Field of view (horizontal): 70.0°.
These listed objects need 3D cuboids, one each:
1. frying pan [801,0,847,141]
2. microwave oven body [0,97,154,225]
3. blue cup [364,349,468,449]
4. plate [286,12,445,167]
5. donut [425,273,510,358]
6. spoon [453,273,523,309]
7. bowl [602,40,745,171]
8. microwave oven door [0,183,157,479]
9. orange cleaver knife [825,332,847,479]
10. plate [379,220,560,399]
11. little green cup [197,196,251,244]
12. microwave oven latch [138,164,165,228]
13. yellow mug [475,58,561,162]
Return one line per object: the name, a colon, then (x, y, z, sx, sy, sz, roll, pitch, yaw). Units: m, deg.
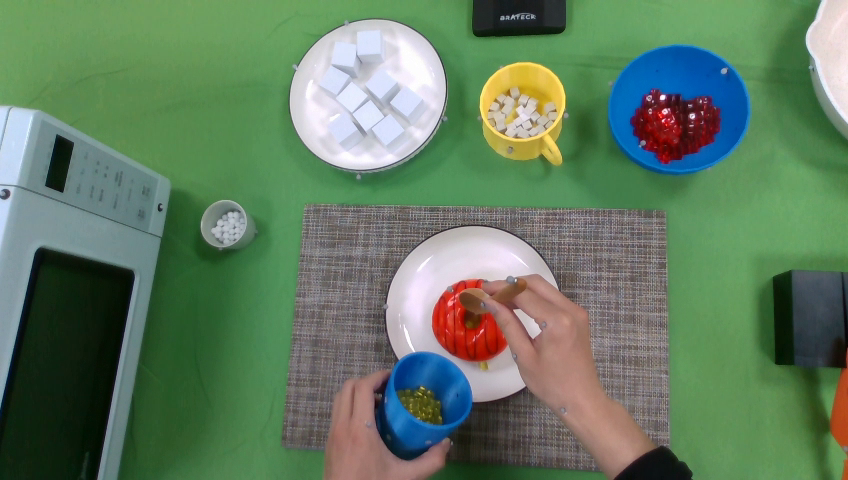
frying pan: (0.554, -0.108, 0.643, 0.306, 0.103, 0.485, 7, 73, 11)
microwave oven body: (-0.537, 0.086, 0.683, 0.325, 0.261, 0.440, 5, 81, 9)
blue cup: (-0.017, 0.169, 0.615, 0.093, 0.100, 0.092, 16, 52, -21)
plate: (-0.074, -0.191, 0.784, 0.207, 0.039, 0.207, -2, 80, 8)
donut: (0.050, 0.087, 0.700, 0.099, 0.048, 0.099, -1, 83, 10)
spoon: (0.061, 0.050, 0.572, 0.042, 0.194, 0.021, 27, 79, -3)
bowl: (0.280, -0.143, 0.704, 0.151, 0.077, 0.151, -1, 80, 8)
microwave oven door: (-0.399, 0.139, 0.648, 0.039, 0.245, 0.354, 5, 80, 9)
orange cleaver knife: (0.430, 0.189, 0.619, 0.012, 0.077, 0.212, 1, 109, 9)
plate: (0.052, 0.080, 0.712, 0.209, 0.038, 0.208, -1, 80, 8)
little green cup: (-0.255, -0.023, 0.779, 0.061, 0.039, 0.061, -1, 81, 7)
microwave oven latch: (-0.358, -0.057, 0.782, 0.030, 0.029, 0.079, 8, 82, 9)
yellow mug: (0.123, -0.148, 0.733, 0.100, 0.064, 0.130, -35, 77, 1)
